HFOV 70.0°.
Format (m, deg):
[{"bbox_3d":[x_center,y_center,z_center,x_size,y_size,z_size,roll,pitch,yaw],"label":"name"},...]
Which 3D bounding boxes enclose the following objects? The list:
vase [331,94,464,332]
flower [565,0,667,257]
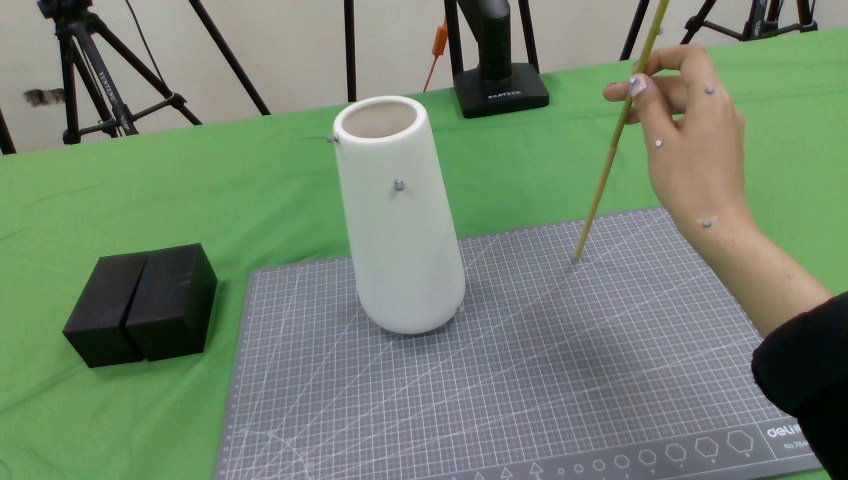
[{"bbox_3d":[-0.022,-0.016,0.503,0.098,0.202,0.097,-6,40,5],"label":"vase"},{"bbox_3d":[0.149,-0.100,0.449,0.044,0.365,0.038,-9,52,-11],"label":"flower"}]
